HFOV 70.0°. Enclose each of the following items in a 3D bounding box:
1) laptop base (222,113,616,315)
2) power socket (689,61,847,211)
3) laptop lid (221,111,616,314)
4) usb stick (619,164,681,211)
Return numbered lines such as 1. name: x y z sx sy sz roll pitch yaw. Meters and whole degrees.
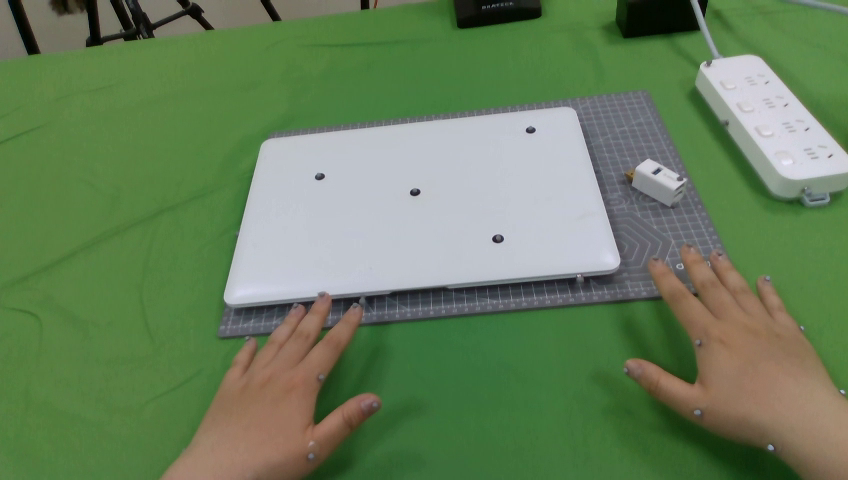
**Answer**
1. laptop base: -0.010 -0.032 0.610 0.354 0.023 0.233 -6 50 3
2. power socket: 0.347 -0.118 0.625 0.072 0.033 0.224 -7 46 0
3. laptop lid: -0.011 -0.039 0.599 0.356 0.013 0.239 -5 48 5
4. usb stick: 0.216 -0.054 0.586 0.021 0.027 0.058 -33 47 -22
